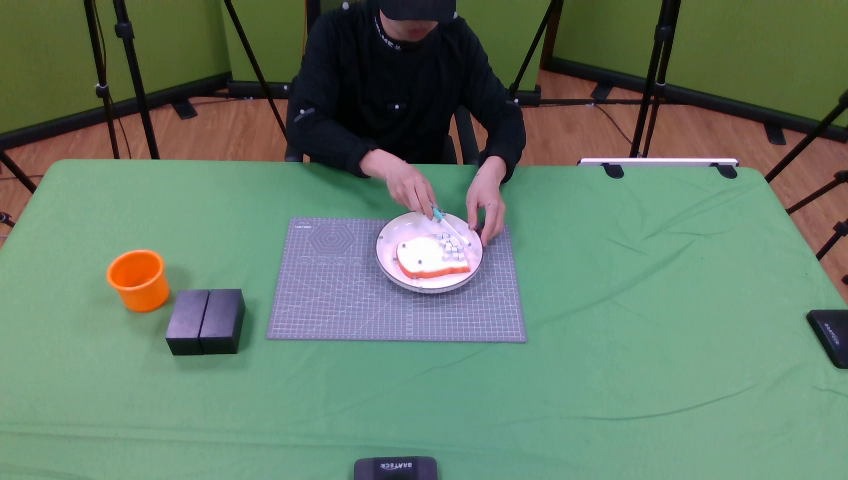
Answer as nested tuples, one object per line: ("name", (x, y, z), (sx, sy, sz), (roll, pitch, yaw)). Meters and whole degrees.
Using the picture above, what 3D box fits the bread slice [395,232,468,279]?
("bread slice", (0.011, 0.030, 1.158), (0.132, 0.019, 0.104), (-8, 47, -14))

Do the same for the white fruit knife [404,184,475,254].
("white fruit knife", (0.030, -0.044, 1.178), (0.016, 0.027, 0.206), (-36, 67, -21))

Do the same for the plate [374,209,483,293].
("plate", (0.009, 0.024, 1.160), (0.209, 0.038, 0.208), (2, 46, -2))
